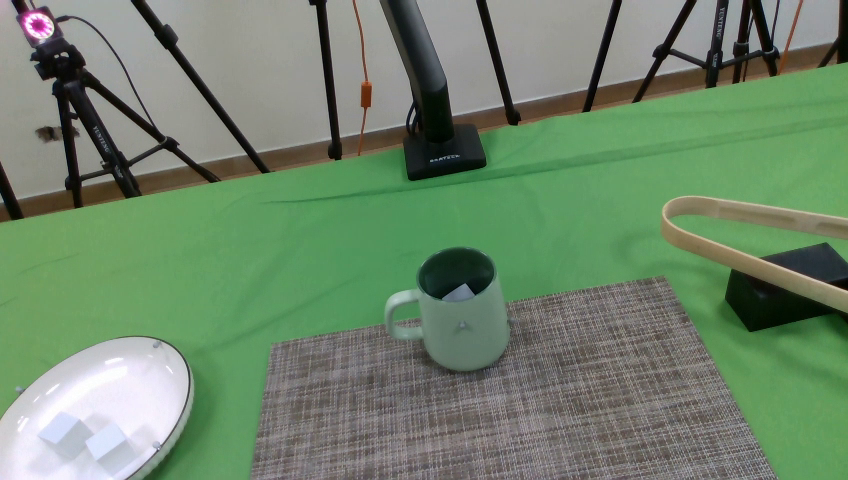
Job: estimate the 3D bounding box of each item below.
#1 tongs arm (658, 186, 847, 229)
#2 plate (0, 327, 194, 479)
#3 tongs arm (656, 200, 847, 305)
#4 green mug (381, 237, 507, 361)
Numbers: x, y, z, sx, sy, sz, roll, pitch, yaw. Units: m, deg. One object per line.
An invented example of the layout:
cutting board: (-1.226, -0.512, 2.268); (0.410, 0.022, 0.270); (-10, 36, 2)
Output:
tongs arm: (0.429, -0.006, 0.586); (0.382, 0.027, 0.050); (16, 51, 28)
plate: (-0.337, 0.180, 0.625); (0.209, 0.038, 0.207); (-6, 41, 6)
tongs arm: (0.384, 0.043, 0.544); (0.384, 0.028, 0.028); (27, 61, 36)
green mug: (0.019, 0.064, 0.614); (0.125, 0.106, 0.091); (-11, 42, 1)
